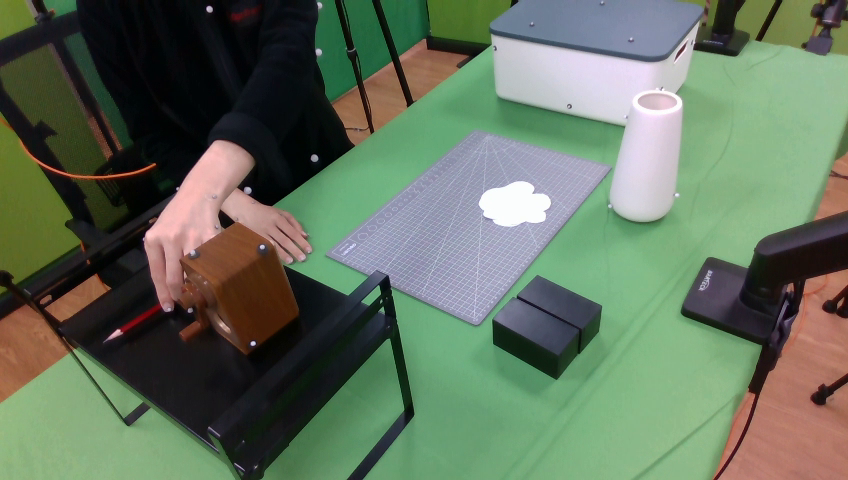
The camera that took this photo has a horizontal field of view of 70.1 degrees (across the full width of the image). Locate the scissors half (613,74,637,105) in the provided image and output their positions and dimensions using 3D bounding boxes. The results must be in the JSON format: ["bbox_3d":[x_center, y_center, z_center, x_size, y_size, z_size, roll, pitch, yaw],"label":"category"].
[{"bbox_3d":[0.427,-0.330,1.306,0.013,0.040,0.174,31,31,-14],"label":"scissors half"}]

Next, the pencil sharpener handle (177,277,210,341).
[{"bbox_3d":[-0.220,0.067,0.565,0.036,0.068,0.031,34,55,24],"label":"pencil sharpener handle"}]

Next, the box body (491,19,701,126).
[{"bbox_3d":[0.352,-0.384,1.268,0.361,0.161,0.255,21,48,29],"label":"box body"}]

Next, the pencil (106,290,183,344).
[{"bbox_3d":[-0.263,0.055,0.675,0.012,0.012,0.194,27,51,34],"label":"pencil"}]

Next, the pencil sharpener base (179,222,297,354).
[{"bbox_3d":[-0.182,0.050,0.598,0.061,0.107,0.077,27,51,33],"label":"pencil sharpener base"}]

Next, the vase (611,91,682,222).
[{"bbox_3d":[0.348,-0.125,0.935,0.098,0.201,0.097,-3,40,3],"label":"vase"}]

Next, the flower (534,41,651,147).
[{"bbox_3d":[0.364,-0.319,1.319,0.038,0.044,0.359,-4,48,-50],"label":"flower"}]

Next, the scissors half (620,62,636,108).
[{"bbox_3d":[0.434,-0.340,1.298,0.013,0.040,0.174,25,42,-11],"label":"scissors half"}]

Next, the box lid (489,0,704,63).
[{"bbox_3d":[0.345,-0.441,1.218,0.369,0.015,0.264,21,49,29],"label":"box lid"}]
